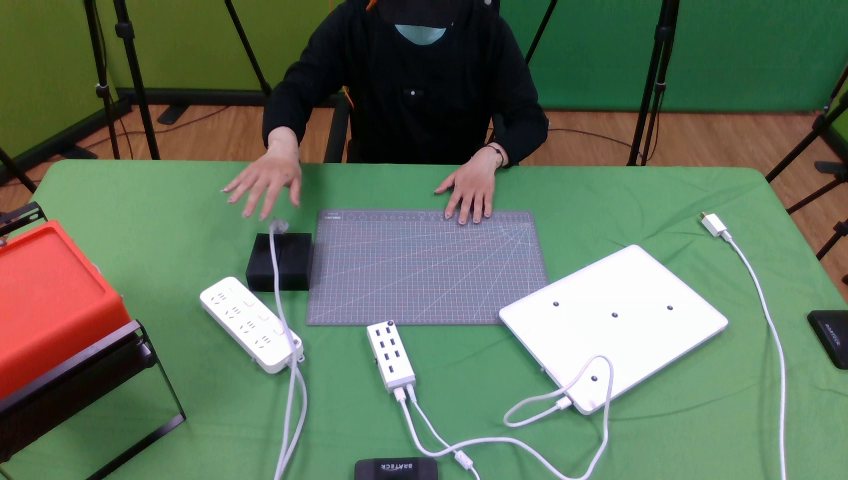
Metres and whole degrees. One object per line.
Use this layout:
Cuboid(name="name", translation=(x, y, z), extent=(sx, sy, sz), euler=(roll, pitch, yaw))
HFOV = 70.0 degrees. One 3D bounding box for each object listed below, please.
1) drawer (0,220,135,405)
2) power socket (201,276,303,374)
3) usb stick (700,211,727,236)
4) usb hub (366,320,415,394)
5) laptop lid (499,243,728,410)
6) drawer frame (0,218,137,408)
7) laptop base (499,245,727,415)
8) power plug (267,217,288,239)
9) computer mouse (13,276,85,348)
Cuboid(name="drawer", translation=(-0.522, 0.093, 0.782), extent=(0.193, 0.073, 0.211), euler=(38, 55, 27))
Cuboid(name="power socket", translation=(-0.296, 0.141, 1.034), extent=(0.225, 0.033, 0.072), euler=(37, 55, 26))
Cuboid(name="usb stick", translation=(0.605, -0.038, 1.273), extent=(0.027, 0.021, 0.059), euler=(-18, 56, -20))
Cuboid(name="usb hub", translation=(-0.056, 0.192, 1.009), extent=(0.049, 0.025, 0.124), euler=(-12, 49, -16))
Cuboid(name="laptop lid", translation=(0.338, 0.136, 1.081), extent=(0.357, 0.013, 0.240), euler=(-21, 50, -23))
Cuboid(name="drawer frame", translation=(-0.523, 0.094, 0.779), extent=(0.200, 0.083, 0.213), euler=(37, 55, 26))
Cuboid(name="laptop base", translation=(0.339, 0.145, 1.088), extent=(0.354, 0.023, 0.234), euler=(-23, 49, -24))
Cuboid(name="power plug", translation=(-0.285, -0.014, 1.169), extent=(0.035, 0.053, 0.072), euler=(-12, 38, 22))
Cuboid(name="computer mouse", translation=(-0.497, 0.090, 0.804), extent=(0.063, 0.041, 0.116), euler=(-7, 42, -7))
